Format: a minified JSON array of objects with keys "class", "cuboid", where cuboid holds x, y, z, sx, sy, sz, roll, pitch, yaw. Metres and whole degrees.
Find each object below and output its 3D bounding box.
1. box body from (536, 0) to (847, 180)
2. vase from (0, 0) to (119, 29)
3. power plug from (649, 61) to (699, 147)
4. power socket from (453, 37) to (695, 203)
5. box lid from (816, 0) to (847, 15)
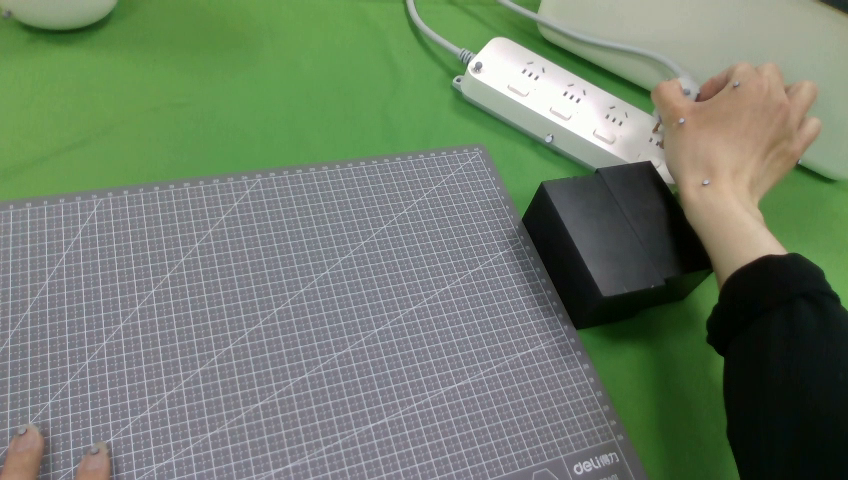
[{"class":"box body","cuboid":[0.321,-0.248,0.598,0.363,0.161,0.253,29,55,7]},{"class":"vase","cuboid":[-0.289,-0.258,0.439,0.098,0.201,0.097,7,53,-9]},{"class":"power plug","cuboid":[0.216,-0.114,0.521,0.035,0.053,0.072,29,43,4]},{"class":"power socket","cuboid":[0.135,-0.109,0.540,0.226,0.033,0.072,32,55,9]},{"class":"box lid","cuboid":[0.335,-0.288,0.538,0.370,0.015,0.262,29,55,7]}]
